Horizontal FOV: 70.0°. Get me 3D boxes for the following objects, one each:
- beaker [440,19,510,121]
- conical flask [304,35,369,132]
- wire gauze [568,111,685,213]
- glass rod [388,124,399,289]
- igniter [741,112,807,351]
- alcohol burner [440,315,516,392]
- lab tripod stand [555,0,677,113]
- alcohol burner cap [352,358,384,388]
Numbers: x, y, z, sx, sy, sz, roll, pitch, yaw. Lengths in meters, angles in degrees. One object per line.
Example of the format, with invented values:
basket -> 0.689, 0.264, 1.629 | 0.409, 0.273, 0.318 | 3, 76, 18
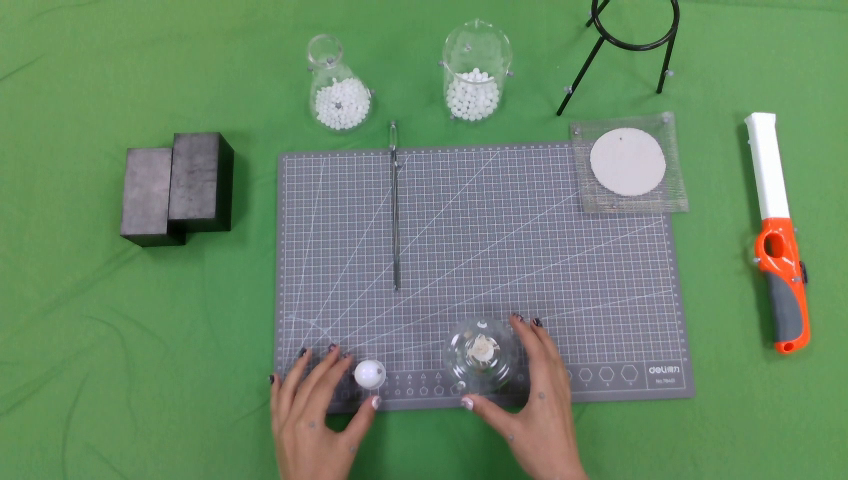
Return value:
beaker -> 0.054, -0.188, 0.689 | 0.074, 0.101, 0.083 | 0, 75, 0
conical flask -> -0.104, -0.178, 0.674 | 0.075, 0.122, 0.075 | 0, 75, 1
wire gauze -> 0.236, -0.090, 0.708 | 0.125, 0.011, 0.121 | -3, 76, -1
glass rod -> -0.035, -0.042, 0.695 | 0.008, 0.008, 0.198 | -3, 76, -1
igniter -> 0.392, -0.014, 0.681 | 0.057, 0.025, 0.275 | 2, 76, -9
alcohol burner -> 0.055, 0.112, 0.604 | 0.078, 0.119, 0.077 | 0, 78, 1
lab tripod stand -> 0.211, -0.215, 0.677 | 0.148, 0.132, 0.147 | 0, 78, 0
alcohol burner cap -> -0.060, 0.139, 0.635 | 0.034, 0.048, 0.033 | 0, 76, 0
